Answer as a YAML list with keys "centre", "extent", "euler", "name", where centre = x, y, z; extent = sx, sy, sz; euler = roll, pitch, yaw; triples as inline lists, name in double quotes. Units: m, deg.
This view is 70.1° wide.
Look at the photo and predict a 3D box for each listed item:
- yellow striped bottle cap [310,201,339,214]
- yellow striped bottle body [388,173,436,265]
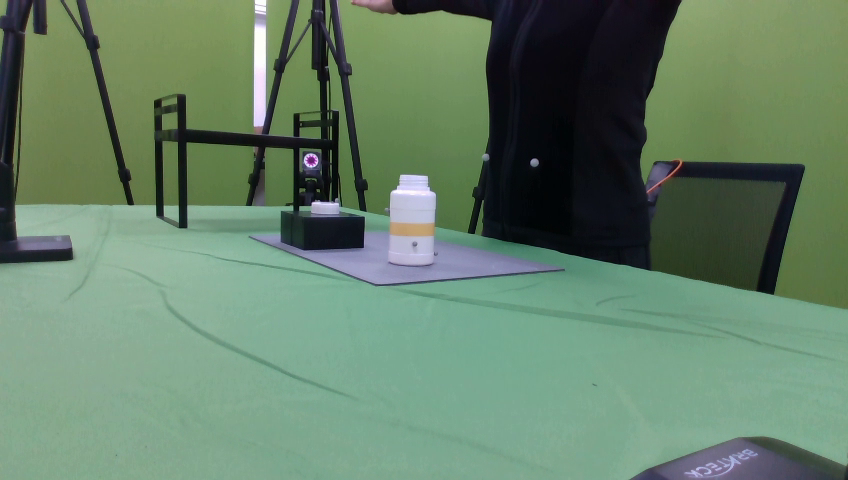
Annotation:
- centre: [-0.157, -0.051, 0.956]
  extent: [0.044, 0.018, 0.044]
  euler: [4, 6, 0]
  name: "yellow striped bottle cap"
- centre: [-0.016, -0.030, 0.813]
  extent: [0.063, 0.120, 0.063]
  euler: [2, 7, 0]
  name: "yellow striped bottle body"
